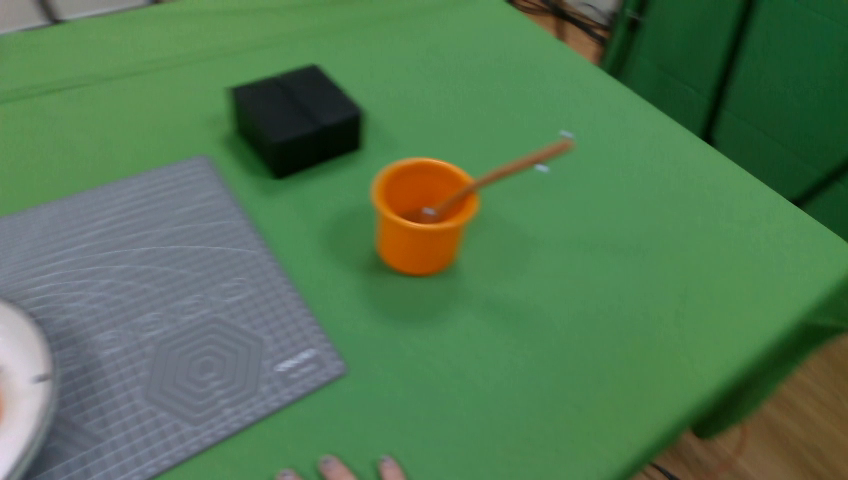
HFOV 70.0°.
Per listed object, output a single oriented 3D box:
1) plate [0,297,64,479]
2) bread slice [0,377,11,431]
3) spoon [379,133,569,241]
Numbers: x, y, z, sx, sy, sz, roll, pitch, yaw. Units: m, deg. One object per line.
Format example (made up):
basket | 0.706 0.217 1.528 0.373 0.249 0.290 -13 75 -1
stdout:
plate | -0.347 0.125 0.395 0.209 0.038 0.207 4 48 -5
bread slice | -0.353 0.124 0.399 0.104 0.019 0.131 36 55 21
spoon | 0.037 -0.045 0.528 0.022 0.193 0.041 42 35 -30
